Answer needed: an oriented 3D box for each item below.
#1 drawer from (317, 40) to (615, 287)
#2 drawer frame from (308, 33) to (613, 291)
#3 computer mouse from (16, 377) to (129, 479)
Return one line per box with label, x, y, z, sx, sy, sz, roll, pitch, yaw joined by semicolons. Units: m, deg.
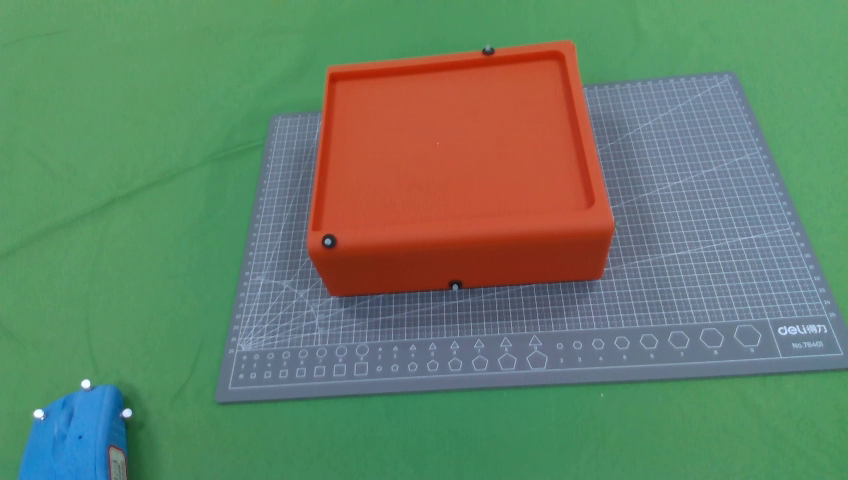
drawer;0.031;-0.064;0.491;0.211;0.074;0.192;-4;56;6
drawer frame;0.028;-0.065;0.490;0.213;0.083;0.199;-5;56;5
computer mouse;-0.239;0.149;0.414;0.063;0.041;0.116;-20;52;-4
